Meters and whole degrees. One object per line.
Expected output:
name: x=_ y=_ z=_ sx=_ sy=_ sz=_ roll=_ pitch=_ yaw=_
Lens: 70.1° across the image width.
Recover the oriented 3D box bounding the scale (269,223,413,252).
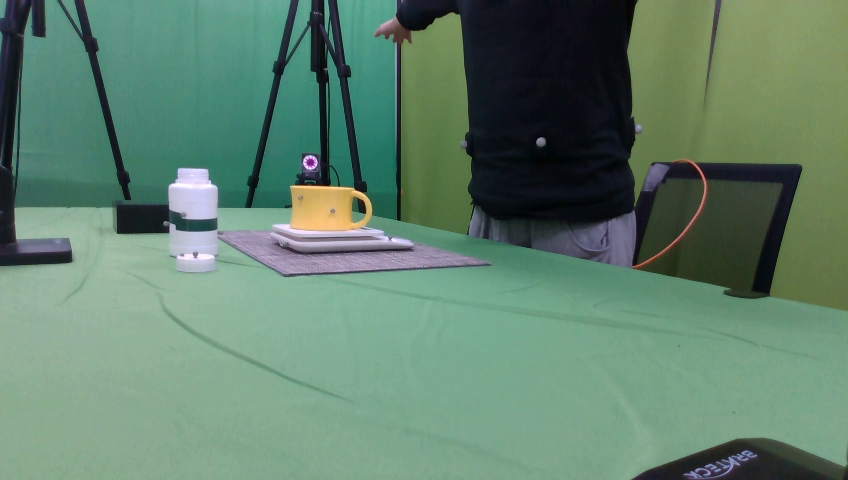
scale: x=-0.132 y=-0.007 z=0.965 sx=0.202 sy=0.031 sz=0.148 roll=-2 pitch=8 yaw=-31

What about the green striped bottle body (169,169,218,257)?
green striped bottle body: x=-0.318 y=-0.038 z=0.836 sx=0.063 sy=0.119 sz=0.063 roll=2 pitch=7 yaw=0

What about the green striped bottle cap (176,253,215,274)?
green striped bottle cap: x=-0.279 y=0.028 z=0.741 sx=0.044 sy=0.020 sz=0.044 roll=5 pitch=4 yaw=0

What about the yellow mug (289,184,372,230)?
yellow mug: x=-0.145 y=-0.052 z=0.944 sx=0.131 sy=0.064 sz=0.100 roll=4 pitch=7 yaw=9
